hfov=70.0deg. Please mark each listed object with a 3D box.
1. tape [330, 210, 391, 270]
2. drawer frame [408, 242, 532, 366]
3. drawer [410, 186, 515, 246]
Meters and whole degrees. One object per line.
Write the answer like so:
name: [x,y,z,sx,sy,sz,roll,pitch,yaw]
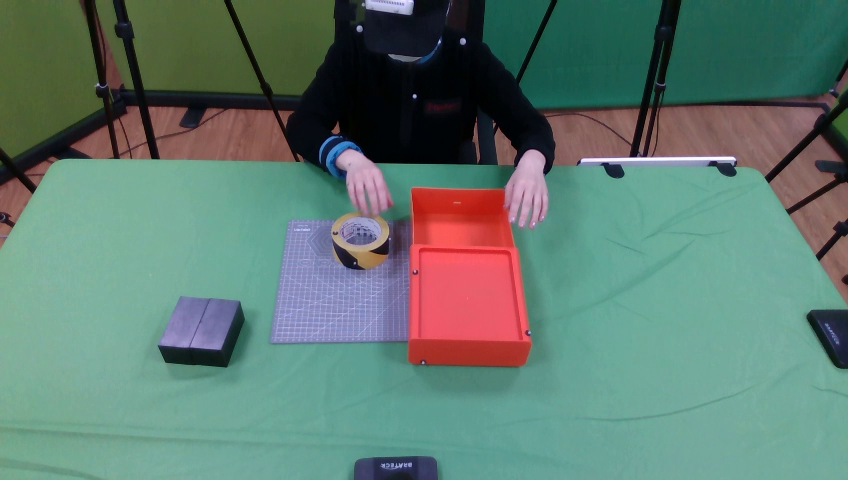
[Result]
tape: [-0.123,-0.002,1.164,0.117,0.053,0.116,3,46,-3]
drawer frame: [0.073,0.107,1.053,0.202,0.083,0.212,2,47,-3]
drawer: [0.071,-0.011,1.173,0.195,0.073,0.210,1,45,-4]
